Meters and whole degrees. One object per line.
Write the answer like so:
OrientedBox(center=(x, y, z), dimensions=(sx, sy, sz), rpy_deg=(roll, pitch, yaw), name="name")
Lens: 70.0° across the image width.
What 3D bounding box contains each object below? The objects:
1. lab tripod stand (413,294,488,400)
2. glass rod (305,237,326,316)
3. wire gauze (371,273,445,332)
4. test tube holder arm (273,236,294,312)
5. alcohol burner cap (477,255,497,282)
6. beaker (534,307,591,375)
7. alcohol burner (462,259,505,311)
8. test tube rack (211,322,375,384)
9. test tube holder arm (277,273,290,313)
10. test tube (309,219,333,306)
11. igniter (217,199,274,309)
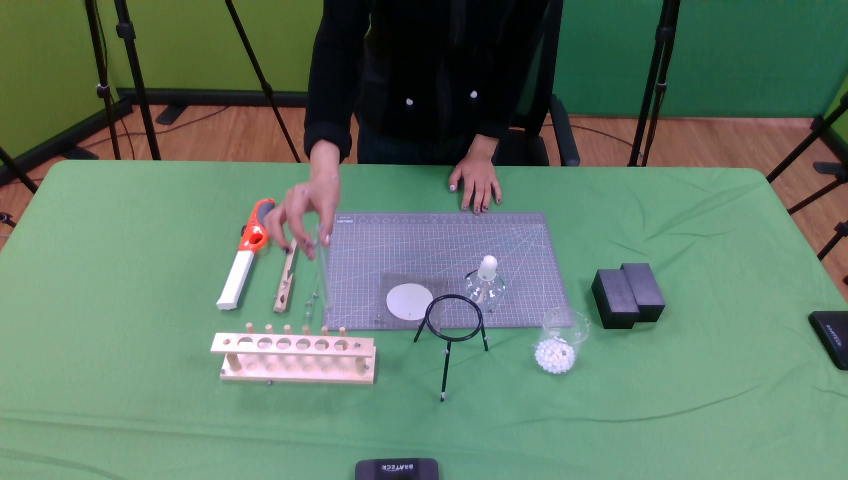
OrientedBox(center=(0.045, 0.159, 0.972), dimensions=(0.148, 0.132, 0.147), rpy_deg=(3, 44, -2), name="lab tripod stand")
OrientedBox(center=(-0.202, 0.063, 1.131), dimensions=(0.008, 0.008, 0.198), rpy_deg=(4, 44, 0), name="glass rod")
OrientedBox(center=(-0.028, 0.109, 1.100), dimensions=(0.125, 0.011, 0.121), rpy_deg=(7, 45, 4), name="wire gauze")
OrientedBox(center=(-0.259, 0.059, 1.123), dimensions=(0.013, 0.015, 0.177), rpy_deg=(28, 39, -28), name="test tube holder arm")
OrientedBox(center=(0.110, 0.047, 1.046), dimensions=(0.034, 0.048, 0.033), rpy_deg=(1, 53, -2), name="alcohol burner cap")
OrientedBox(center=(0.226, 0.169, 1.002), dimensions=(0.084, 0.101, 0.073), rpy_deg=(-6, 47, -10), name="beaker")
OrientedBox(center=(0.108, 0.071, 1.072), dimensions=(0.078, 0.119, 0.077), rpy_deg=(4, 45, -4), name="alcohol burner")
OrientedBox(center=(-0.202, 0.176, 0.969), dimensions=(0.242, 0.085, 0.066), rpy_deg=(3, 46, -2), name="test tube rack")
OrientedBox(center=(-0.254, 0.093, 1.094), dimensions=(0.010, 0.015, 0.087), rpy_deg=(29, 38, -27), name="test tube holder arm")
OrientedBox(center=(-0.145, 0.035, 0.856), dimensions=(0.017, 0.151, 0.017), rpy_deg=(-2, 37, 1), name="test tube")
OrientedBox(center=(-0.336, 0.017, 1.153), dimensions=(0.057, 0.025, 0.275), rpy_deg=(-2, 45, 8), name="igniter")
